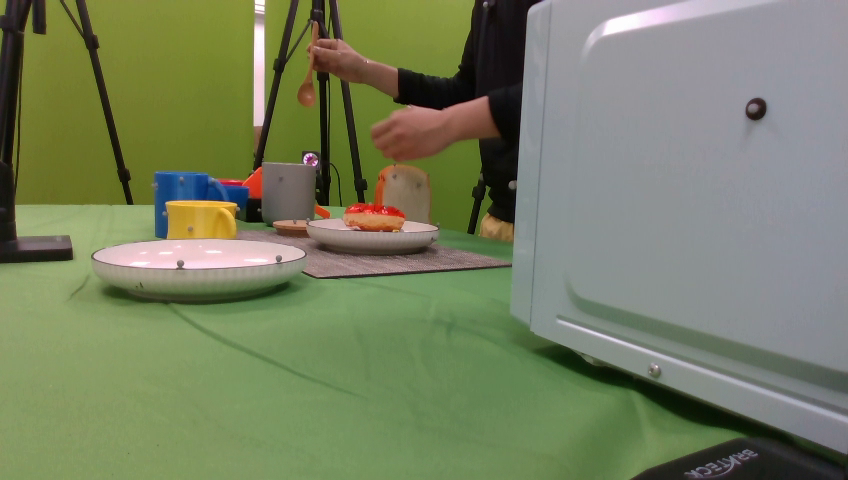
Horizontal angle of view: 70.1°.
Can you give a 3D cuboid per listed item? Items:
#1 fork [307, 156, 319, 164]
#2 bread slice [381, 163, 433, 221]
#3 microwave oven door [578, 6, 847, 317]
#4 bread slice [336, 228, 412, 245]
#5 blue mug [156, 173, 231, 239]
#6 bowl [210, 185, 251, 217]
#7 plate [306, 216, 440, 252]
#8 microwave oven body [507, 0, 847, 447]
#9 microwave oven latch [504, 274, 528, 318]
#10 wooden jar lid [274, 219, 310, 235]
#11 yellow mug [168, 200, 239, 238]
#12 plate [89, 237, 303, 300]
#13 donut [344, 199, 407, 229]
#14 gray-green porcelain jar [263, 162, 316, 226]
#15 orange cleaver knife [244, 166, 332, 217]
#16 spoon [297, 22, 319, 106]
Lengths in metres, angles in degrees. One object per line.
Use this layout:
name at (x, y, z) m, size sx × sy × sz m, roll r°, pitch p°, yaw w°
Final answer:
fork at (-0.331, -0.144, 1.506) m, size 0.207 × 0.018 × 0.028 m, roll -42°, pitch -20°, yaw 22°
bread slice at (-0.035, -0.076, 1.124) m, size 0.107 × 0.134 × 0.018 m, roll -4°, pitch 1°, yaw -26°
microwave oven door at (0.294, -0.067, 0.570) m, size 0.358 × 0.243 × 0.039 m, roll -3°, pitch 9°, yaw -31°
bread slice at (-0.074, -0.006, 0.938) m, size 0.105 × 0.019 × 0.131 m, roll -2°, pitch 5°, yaw -18°
blue mug at (-0.381, -0.057, 1.004) m, size 0.117 × 0.106 × 0.082 m, roll 0°, pitch 8°, yaw -12°
bowl at (-0.408, -0.064, 1.154) m, size 0.151 × 0.077 × 0.151 m, roll 3°, pitch 8°, yaw 0°
plate at (-0.079, -0.011, 0.950) m, size 0.209 × 0.038 × 0.209 m, roll 2°, pitch 8°, yaw 0°
microwave oven body at (0.331, -0.042, 0.425) m, size 0.444 × 0.260 × 0.324 m, roll -2°, pitch 8°, yaw -31°
microwave oven latch at (0.100, 0.041, 0.471) m, size 0.079 × 0.029 × 0.030 m, roll -1°, pitch 8°, yaw -28°
wooden jar lid at (-0.213, -0.023, 1.080) m, size 0.108 × 0.020 × 0.108 m, roll 3°, pitch 7°, yaw 0°
yellow mug at (-0.320, -0.023, 0.904) m, size 0.130 × 0.064 × 0.100 m, roll 9°, pitch 11°, yaw 36°
plate at (-0.233, 0.029, 0.637) m, size 0.208 × 0.039 × 0.207 m, roll 2°, pitch 7°, yaw 0°
donut at (-0.076, -0.039, 0.949) m, size 0.099 × 0.048 × 0.099 m, roll 3°, pitch 4°, yaw 0°
gray-green porcelain jar at (-0.271, -0.092, 1.217) m, size 0.106 × 0.126 × 0.106 m, roll 2°, pitch 7°, yaw 0°
orange cleaver knife at (-0.301, -0.089, 1.351) m, size 0.212 × 0.077 × 0.012 m, roll 32°, pitch -11°, yaw -34°
spoon at (-0.249, -0.390, 1.336) m, size 0.042 × 0.193 × 0.021 m, roll 9°, pitch -3°, yaw -17°
